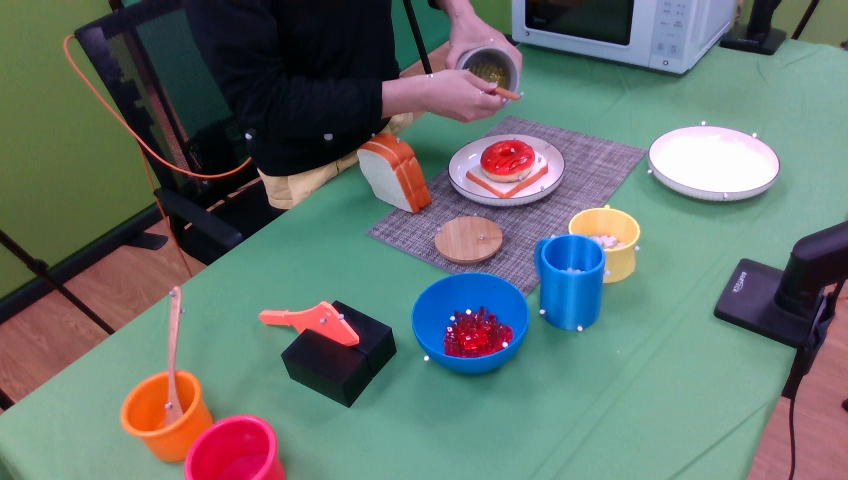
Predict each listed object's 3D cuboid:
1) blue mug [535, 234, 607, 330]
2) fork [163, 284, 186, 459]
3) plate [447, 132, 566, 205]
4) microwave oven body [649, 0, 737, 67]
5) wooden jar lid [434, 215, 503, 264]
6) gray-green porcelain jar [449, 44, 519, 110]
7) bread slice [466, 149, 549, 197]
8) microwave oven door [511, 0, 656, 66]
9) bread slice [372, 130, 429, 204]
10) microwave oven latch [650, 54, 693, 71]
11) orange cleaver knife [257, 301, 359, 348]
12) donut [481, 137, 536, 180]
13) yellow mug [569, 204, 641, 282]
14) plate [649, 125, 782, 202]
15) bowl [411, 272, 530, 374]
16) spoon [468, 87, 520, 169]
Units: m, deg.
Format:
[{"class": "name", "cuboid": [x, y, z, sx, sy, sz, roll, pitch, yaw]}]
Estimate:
[{"class": "blue mug", "cuboid": [0.191, 0.048, 0.824, 0.082, 0.106, 0.115, -26, 44, -20]}, {"class": "fork", "cuboid": [-0.302, 0.157, 0.733, 0.028, 0.019, 0.207, -3, 84, 14]}, {"class": "plate", "cuboid": [0.146, -0.124, 1.076, 0.209, 0.038, 0.208, -4, 41, 4]}, {"class": "microwave oven body", "cuboid": [0.475, -0.602, 1.411, 0.438, 0.261, 0.327, 23, 50, 32]}, {"class": "wooden jar lid", "cuboid": [0.070, 0.001, 0.956, 0.108, 0.021, 0.108, -4, 40, 4]}, {"class": "gray-green porcelain jar", "cuboid": [0.100, -0.283, 1.052, 0.106, 0.106, 0.126, -10, 16, -3]}, {"class": "bread slice", "cuboid": [0.156, -0.129, 1.084, 0.132, 0.019, 0.104, -33, 48, -23]}, {"class": "microwave oven door", "cuboid": [0.351, -0.539, 1.348, 0.353, 0.245, 0.039, 24, 50, 31]}, {"class": "bread slice", "cuboid": [-0.043, -0.127, 1.038, 0.106, 0.135, 0.018, 31, 61, 33]}, {"class": "microwave oven latch", "cuboid": [0.531, -0.386, 1.301, 0.078, 0.029, 0.030, 26, 51, 33]}, {"class": "orange cleaver knife", "cuboid": [-0.160, 0.115, 0.813, 0.210, 0.077, 0.012, -9, 29, 48]}, {"class": "donut", "cuboid": [0.145, -0.144, 1.056, 0.099, 0.048, 0.098, -6, 42, 6]}, {"class": "yellow mug", "cuboid": [0.268, -0.005, 0.904, 0.099, 0.064, 0.130, 7, 41, 15]}, {"class": "plate", "cuboid": [0.493, -0.127, 1.036, 0.207, 0.039, 0.206, -4, 41, 4]}, {"class": "bowl", "cuboid": [0.062, 0.120, 0.780, 0.151, 0.077, 0.150, -4, 40, 4]}, {"class": "spoon", "cuboid": [0.116, -0.183, 1.000, 0.022, 0.193, 0.041, -30, 71, -36]}]
